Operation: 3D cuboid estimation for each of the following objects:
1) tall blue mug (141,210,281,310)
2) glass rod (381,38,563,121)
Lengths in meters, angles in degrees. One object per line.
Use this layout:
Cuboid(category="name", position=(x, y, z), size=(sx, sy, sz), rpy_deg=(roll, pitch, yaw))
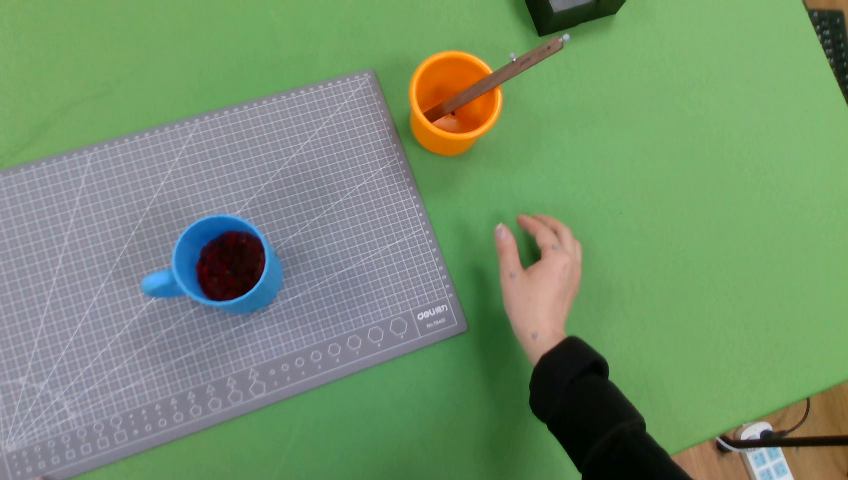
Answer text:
Cuboid(category="tall blue mug", position=(-0.185, 0.031, 0.544), size=(0.107, 0.108, 0.078), rpy_deg=(-43, 88, -13))
Cuboid(category="glass rod", position=(0.041, -0.155, 0.598), size=(0.199, 0.008, 0.008), rpy_deg=(-18, 81, 25))
